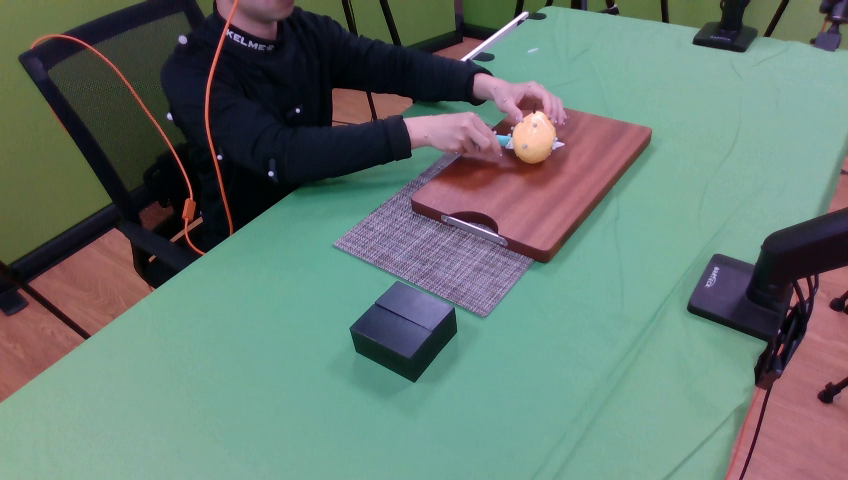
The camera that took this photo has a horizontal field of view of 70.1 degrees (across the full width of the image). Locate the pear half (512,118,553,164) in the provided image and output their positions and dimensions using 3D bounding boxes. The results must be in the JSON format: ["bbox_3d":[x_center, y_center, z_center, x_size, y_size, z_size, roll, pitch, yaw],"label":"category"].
[{"bbox_3d":[0.187,-0.165,1.039,0.070,0.088,0.031,3,45,8],"label":"pear half"}]

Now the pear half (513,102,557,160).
[{"bbox_3d":[0.195,-0.197,1.060,0.076,0.110,0.056,5,42,9],"label":"pear half"}]

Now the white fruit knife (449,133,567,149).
[{"bbox_3d":[0.145,-0.173,1.063,0.207,0.027,0.016,5,40,12],"label":"white fruit knife"}]
